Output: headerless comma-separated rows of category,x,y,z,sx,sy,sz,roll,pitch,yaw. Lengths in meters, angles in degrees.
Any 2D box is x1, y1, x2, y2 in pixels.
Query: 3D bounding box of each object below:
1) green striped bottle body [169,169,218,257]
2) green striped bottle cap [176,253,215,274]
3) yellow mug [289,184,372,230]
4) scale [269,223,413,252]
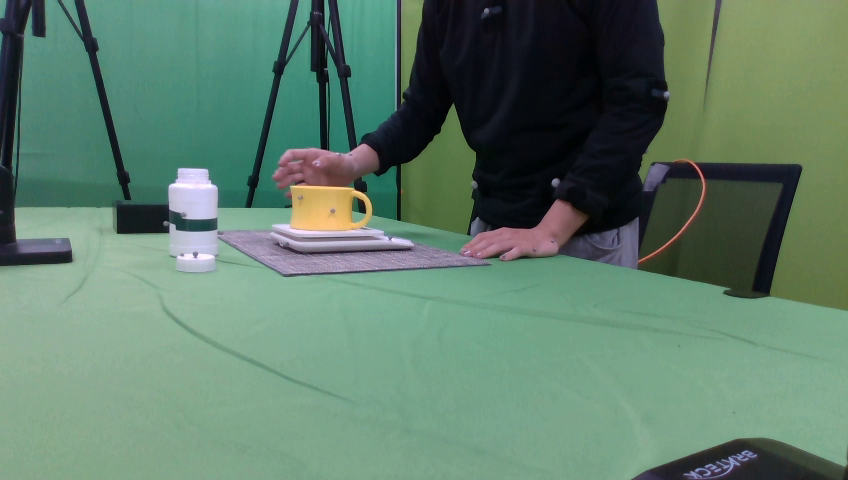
green striped bottle body,-0.318,-0.038,0.836,0.063,0.119,0.063,2,7,0
green striped bottle cap,-0.279,0.029,0.741,0.044,0.020,0.044,5,4,0
yellow mug,-0.145,-0.052,0.944,0.131,0.064,0.100,4,7,9
scale,-0.132,-0.007,0.965,0.202,0.031,0.148,-2,8,-31
